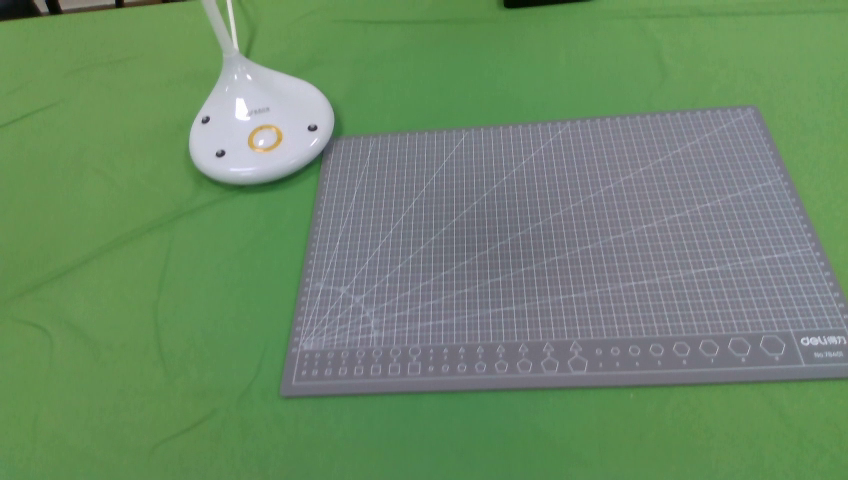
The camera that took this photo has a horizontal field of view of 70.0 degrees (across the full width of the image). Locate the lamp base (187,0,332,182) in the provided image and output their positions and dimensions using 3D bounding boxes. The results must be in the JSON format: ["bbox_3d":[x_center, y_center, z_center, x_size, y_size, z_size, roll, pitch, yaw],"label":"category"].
[{"bbox_3d":[-0.196,-0.179,0.613,0.161,0.182,0.177,-27,51,-12],"label":"lamp base"}]
